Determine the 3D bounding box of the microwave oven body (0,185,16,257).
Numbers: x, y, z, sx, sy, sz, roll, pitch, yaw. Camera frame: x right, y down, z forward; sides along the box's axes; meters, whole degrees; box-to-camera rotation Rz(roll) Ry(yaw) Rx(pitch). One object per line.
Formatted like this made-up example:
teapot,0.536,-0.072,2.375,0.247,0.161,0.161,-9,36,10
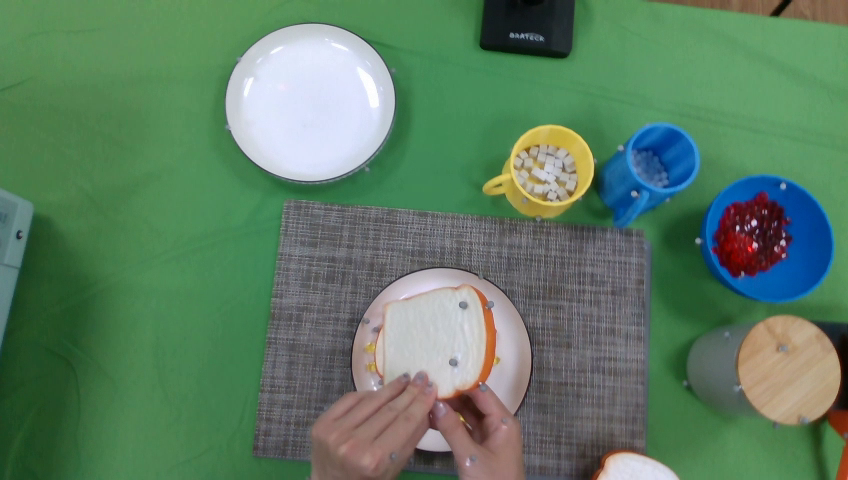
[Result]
microwave oven body,-0.640,0.118,0.558,0.326,0.261,0.440,7,80,-1

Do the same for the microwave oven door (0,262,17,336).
microwave oven door,-0.500,0.176,0.548,0.039,0.244,0.354,7,79,0

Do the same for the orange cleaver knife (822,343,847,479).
orange cleaver knife,0.479,0.206,0.686,0.012,0.077,0.212,4,105,-1

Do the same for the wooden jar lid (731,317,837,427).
wooden jar lid,0.358,0.131,0.608,0.108,0.021,0.108,1,82,-4

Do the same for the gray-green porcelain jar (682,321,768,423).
gray-green porcelain jar,0.357,0.145,0.670,0.106,0.127,0.105,1,79,-2

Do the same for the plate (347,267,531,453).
plate,0.017,0.135,0.698,0.209,0.038,0.208,1,79,-2

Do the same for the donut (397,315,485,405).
donut,0.019,0.133,0.670,0.099,0.048,0.098,1,82,-5

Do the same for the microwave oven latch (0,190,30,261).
microwave oven latch,-0.476,-0.017,0.689,0.030,0.029,0.079,10,80,-1

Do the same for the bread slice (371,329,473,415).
bread slice,0.004,0.132,0.701,0.131,0.019,0.104,19,78,-2

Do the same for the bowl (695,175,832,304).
bowl,0.387,0.005,0.722,0.151,0.077,0.150,0,79,-2

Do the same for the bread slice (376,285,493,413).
bread slice,0.006,0.095,0.559,0.018,0.134,0.106,17,59,-44

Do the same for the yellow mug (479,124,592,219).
yellow mug,0.130,-0.077,0.733,0.131,0.064,0.099,-15,79,-4

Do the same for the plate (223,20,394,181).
plate,-0.140,-0.170,0.753,0.208,0.039,0.206,1,79,-2

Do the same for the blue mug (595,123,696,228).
blue mug,0.251,-0.066,0.716,0.082,0.106,0.116,26,79,3
